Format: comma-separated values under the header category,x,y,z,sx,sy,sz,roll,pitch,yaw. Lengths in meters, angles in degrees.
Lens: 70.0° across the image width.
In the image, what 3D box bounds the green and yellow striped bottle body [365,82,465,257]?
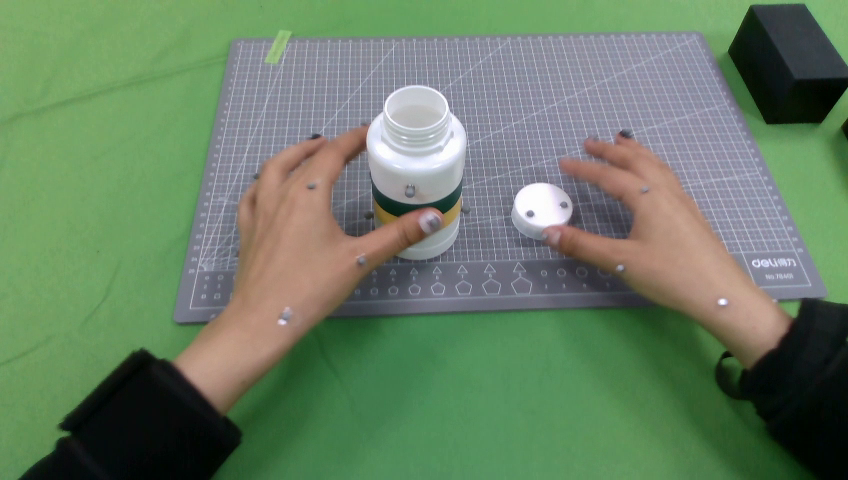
category,x,y,z,sx,sy,sz,roll,pitch,yaw
green and yellow striped bottle body,-0.006,-0.046,0.401,0.063,0.120,0.062,1,56,0

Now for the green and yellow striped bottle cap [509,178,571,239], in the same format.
category,x,y,z,sx,sy,sz,roll,pitch,yaw
green and yellow striped bottle cap,0.087,-0.024,0.452,0.045,0.020,0.045,1,57,-1
